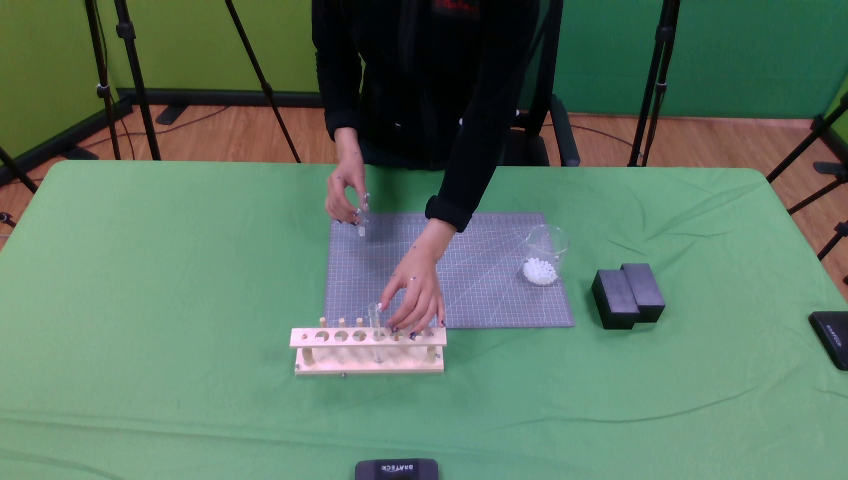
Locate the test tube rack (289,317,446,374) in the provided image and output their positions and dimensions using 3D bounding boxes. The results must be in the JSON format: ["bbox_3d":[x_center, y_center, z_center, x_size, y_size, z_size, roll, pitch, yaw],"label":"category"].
[{"bbox_3d":[-0.089,0.167,0.987,0.242,0.085,0.066,0,46,-4],"label":"test tube rack"}]

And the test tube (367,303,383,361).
[{"bbox_3d":[-0.076,0.146,0.941,0.017,0.151,0.017,0,49,0],"label":"test tube"}]

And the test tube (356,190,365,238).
[{"bbox_3d":[-0.117,-0.044,1.112,0.017,0.151,0.017,3,60,-5],"label":"test tube"}]

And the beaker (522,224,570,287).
[{"bbox_3d":[0.221,0.032,1.129,0.084,0.101,0.073,-6,46,-9],"label":"beaker"}]
